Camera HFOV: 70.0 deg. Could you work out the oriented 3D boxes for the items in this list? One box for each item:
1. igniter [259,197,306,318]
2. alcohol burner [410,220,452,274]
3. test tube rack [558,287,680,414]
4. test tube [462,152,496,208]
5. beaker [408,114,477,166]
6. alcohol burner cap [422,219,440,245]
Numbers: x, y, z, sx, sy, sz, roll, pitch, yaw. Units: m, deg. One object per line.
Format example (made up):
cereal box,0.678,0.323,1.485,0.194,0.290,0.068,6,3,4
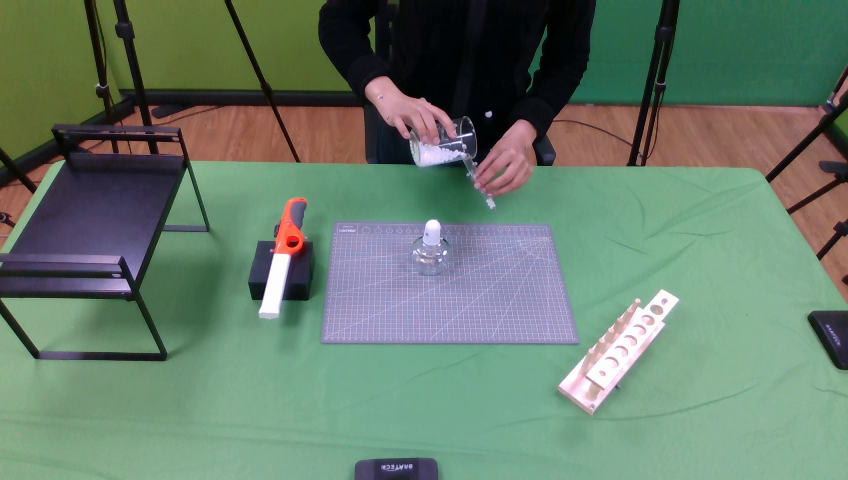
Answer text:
igniter,-0.252,0.021,1.087,0.057,0.025,0.275,4,48,-2
alcohol burner,0.013,0.008,1.120,0.078,0.120,0.077,1,48,-1
test tube rack,0.327,0.170,1.009,0.066,0.085,0.242,36,54,27
test tube,0.103,-0.107,1.115,0.017,0.151,0.017,-16,49,19
beaker,0.030,-0.165,1.023,0.100,0.084,0.073,-13,48,-14
alcohol burner cap,0.014,-0.018,1.094,0.034,0.048,0.033,5,44,-5
